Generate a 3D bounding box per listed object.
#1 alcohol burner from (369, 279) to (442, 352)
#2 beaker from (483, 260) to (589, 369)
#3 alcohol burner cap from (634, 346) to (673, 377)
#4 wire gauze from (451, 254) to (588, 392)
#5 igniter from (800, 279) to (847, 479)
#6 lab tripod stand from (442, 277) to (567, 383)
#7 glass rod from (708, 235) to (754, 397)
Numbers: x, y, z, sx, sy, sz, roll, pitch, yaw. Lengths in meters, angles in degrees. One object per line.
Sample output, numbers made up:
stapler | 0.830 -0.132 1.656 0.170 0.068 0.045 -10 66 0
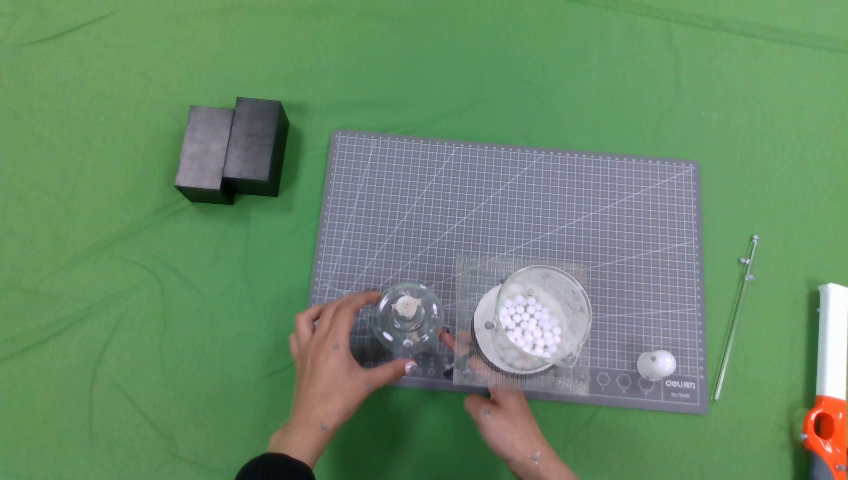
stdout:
alcohol burner | -0.019 0.075 0.628 0.078 0.120 0.077 0 72 -1
beaker | 0.089 0.069 0.503 0.074 0.101 0.083 -26 75 -8
alcohol burner cap | 0.251 0.131 0.656 0.034 0.048 0.033 0 73 1
wire gauze | 0.087 0.073 0.552 0.125 0.011 0.120 4 72 2
igniter | 0.437 0.178 0.658 0.057 0.025 0.275 16 74 -8
lab tripod stand | 0.084 0.094 0.615 0.148 0.132 0.147 0 73 1
glass rod | 0.351 0.083 0.692 0.008 0.008 0.199 21 75 4
